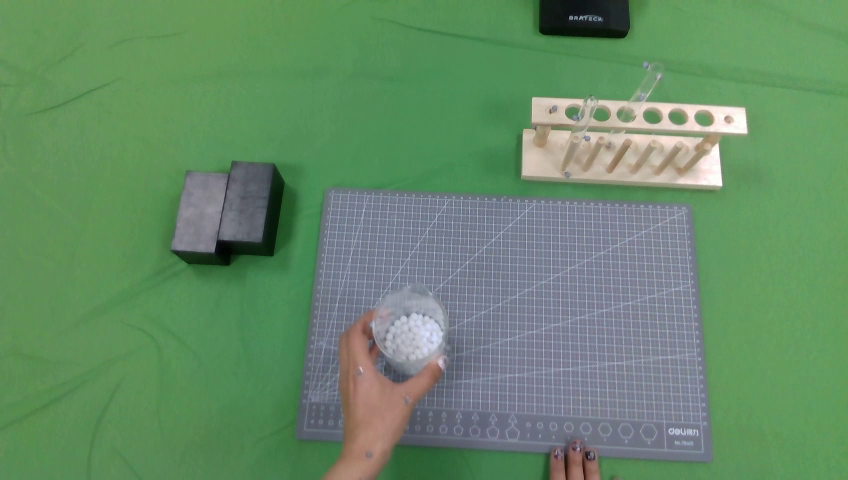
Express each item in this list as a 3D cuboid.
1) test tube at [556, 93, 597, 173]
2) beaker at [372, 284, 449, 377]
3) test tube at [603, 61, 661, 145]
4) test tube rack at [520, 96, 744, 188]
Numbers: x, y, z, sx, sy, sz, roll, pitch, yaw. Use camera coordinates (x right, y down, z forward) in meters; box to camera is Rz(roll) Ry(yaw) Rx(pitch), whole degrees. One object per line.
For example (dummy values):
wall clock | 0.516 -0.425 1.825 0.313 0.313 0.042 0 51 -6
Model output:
test tube | 0.169 -0.117 0.680 0.017 0.151 0.017 0 68 1
beaker | -0.012 0.098 0.624 0.074 0.101 0.083 10 69 4
test tube | 0.232 -0.149 0.685 0.017 0.151 0.017 1 68 -2
test tube rack | 0.242 -0.116 0.726 0.242 0.086 0.066 3 71 2
